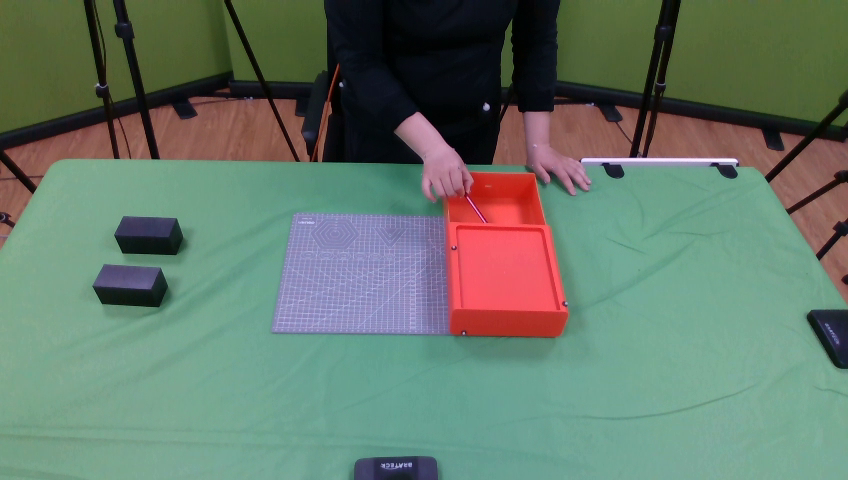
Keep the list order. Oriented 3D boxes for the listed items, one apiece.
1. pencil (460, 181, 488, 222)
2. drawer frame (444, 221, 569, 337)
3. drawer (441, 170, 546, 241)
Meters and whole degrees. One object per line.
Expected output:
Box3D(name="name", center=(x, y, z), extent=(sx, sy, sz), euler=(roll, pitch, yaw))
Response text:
Box3D(name="pencil", center=(0.119, -0.038, 1.185), extent=(0.012, 0.012, 0.193), euler=(-23, 72, -24))
Box3D(name="drawer frame", center=(0.141, 0.067, 1.097), extent=(0.202, 0.083, 0.212), euler=(2, 46, -4))
Box3D(name="drawer", center=(0.137, -0.048, 1.214), extent=(0.195, 0.073, 0.210), euler=(2, 44, -4))
